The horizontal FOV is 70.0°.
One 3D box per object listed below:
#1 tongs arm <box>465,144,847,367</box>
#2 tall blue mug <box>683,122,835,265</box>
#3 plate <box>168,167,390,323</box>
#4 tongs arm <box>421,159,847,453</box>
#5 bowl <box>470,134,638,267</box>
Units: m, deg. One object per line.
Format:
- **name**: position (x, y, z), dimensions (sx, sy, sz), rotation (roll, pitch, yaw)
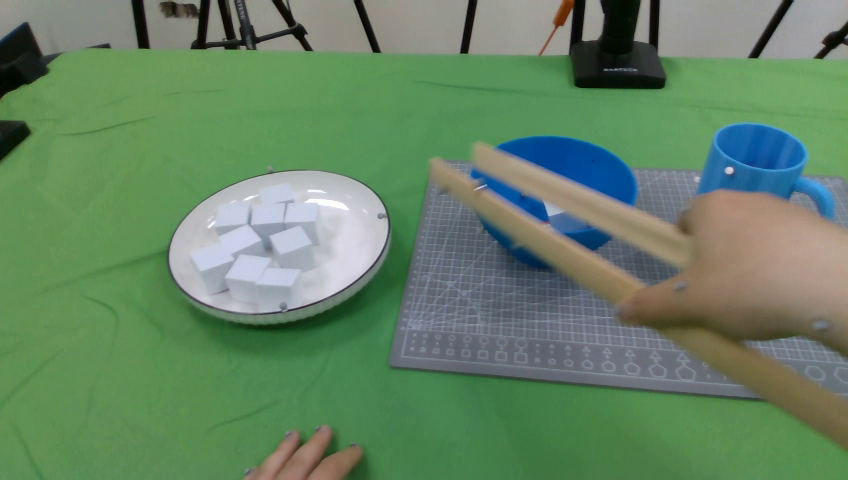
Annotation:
- **tongs arm**: position (0.140, 0.006, 0.390), dimensions (0.028, 0.028, 0.383), rotation (-18, 34, -28)
- **tall blue mug**: position (0.304, -0.038, 0.550), dimensions (0.107, 0.109, 0.077), rotation (12, 43, 16)
- **plate**: position (-0.135, 0.004, 0.585), dimensions (0.209, 0.038, 0.207), rotation (-1, 42, 1)
- **tongs arm**: position (0.116, 0.016, 0.377), dimensions (0.051, 0.027, 0.380), rotation (-20, 35, -24)
- **bowl**: position (0.117, -0.028, 0.572), dimensions (0.151, 0.077, 0.150), rotation (-1, 42, 2)
